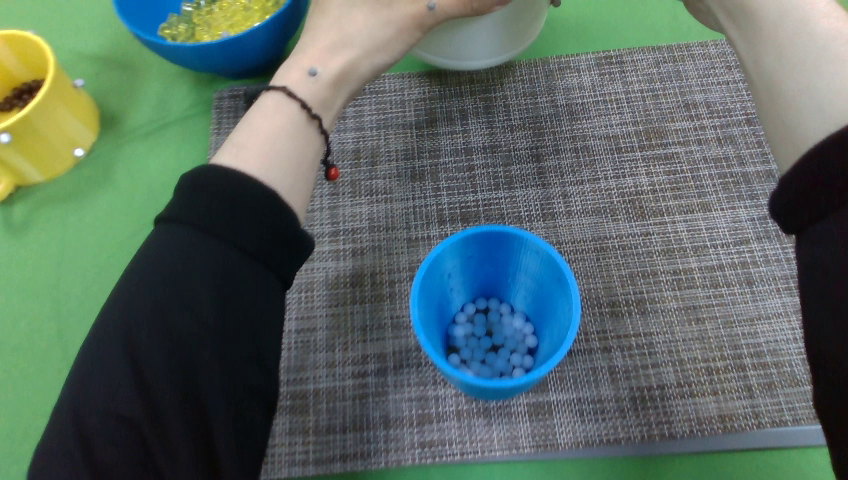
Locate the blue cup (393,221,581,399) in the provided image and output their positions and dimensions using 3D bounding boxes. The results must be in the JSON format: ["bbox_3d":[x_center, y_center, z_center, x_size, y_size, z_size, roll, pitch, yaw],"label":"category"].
[{"bbox_3d":[0.039,0.050,0.343,0.092,0.101,0.092,-2,65,5],"label":"blue cup"}]

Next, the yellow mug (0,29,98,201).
[{"bbox_3d":[-0.317,-0.086,0.454,0.100,0.064,0.130,6,66,6],"label":"yellow mug"}]

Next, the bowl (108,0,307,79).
[{"bbox_3d":[-0.159,-0.184,0.485,0.151,0.077,0.150,-1,64,3],"label":"bowl"}]

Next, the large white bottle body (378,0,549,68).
[{"bbox_3d":[0.032,-0.218,0.387,0.131,0.186,0.129,1,68,-2],"label":"large white bottle body"}]
